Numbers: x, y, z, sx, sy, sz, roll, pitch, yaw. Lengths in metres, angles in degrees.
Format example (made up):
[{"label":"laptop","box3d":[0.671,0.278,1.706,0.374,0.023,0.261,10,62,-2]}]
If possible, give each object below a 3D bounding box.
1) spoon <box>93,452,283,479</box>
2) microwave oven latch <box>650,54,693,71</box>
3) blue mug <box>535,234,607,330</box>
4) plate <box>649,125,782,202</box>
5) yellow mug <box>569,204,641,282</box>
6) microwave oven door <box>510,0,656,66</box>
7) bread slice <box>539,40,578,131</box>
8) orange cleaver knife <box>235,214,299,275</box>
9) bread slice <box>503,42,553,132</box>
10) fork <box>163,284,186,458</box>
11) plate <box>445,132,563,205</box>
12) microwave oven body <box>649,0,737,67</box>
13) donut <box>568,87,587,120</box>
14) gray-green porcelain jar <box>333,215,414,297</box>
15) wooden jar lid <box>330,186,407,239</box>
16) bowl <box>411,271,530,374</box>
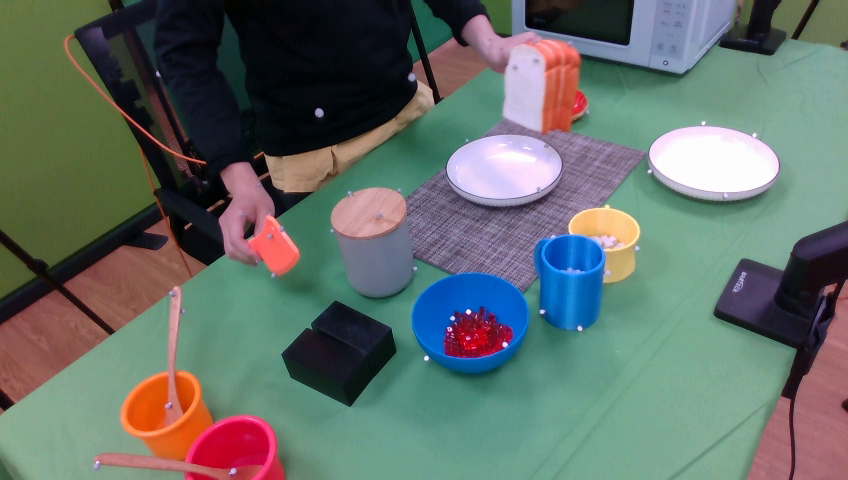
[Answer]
[{"label":"spoon","box3d":[-0.240,0.239,0.632,0.195,0.021,0.041,26,33,-32]},{"label":"microwave oven latch","box3d":[0.531,-0.386,1.301,0.078,0.029,0.030,26,51,33]},{"label":"blue mug","box3d":[0.191,0.048,0.824,0.082,0.106,0.115,-26,44,-20]},{"label":"plate","box3d":[0.493,-0.127,1.036,0.207,0.039,0.206,-4,40,4]},{"label":"yellow mug","box3d":[0.268,-0.005,0.904,0.099,0.064,0.130,7,41,15]},{"label":"microwave oven door","box3d":[0.350,-0.539,1.349,0.353,0.245,0.039,24,50,31]},{"label":"bread slice","box3d":[0.206,-0.255,0.986,0.018,0.134,0.106,-12,37,-30]},{"label":"orange cleaver knife","box3d":[-0.219,0.014,0.834,0.012,0.077,0.210,-35,9,-30]},{"label":"bread slice","box3d":[0.163,-0.247,0.962,0.019,0.132,0.104,-18,34,-27]},{"label":"fork","box3d":[-0.302,0.157,0.733,0.028,0.019,0.207,-3,84,16]},{"label":"plate","box3d":[0.142,-0.123,1.076,0.209,0.038,0.208,-4,41,4]},{"label":"microwave oven body","box3d":[0.475,-0.602,1.411,0.438,0.261,0.327,23,50,32]},{"label":"donut","box3d":[0.284,-0.281,1.239,0.099,0.048,0.098,-5,42,5]},{"label":"gray-green porcelain jar","box3d":[-0.071,0.012,0.887,0.106,0.127,0.105,-4,41,4]},{"label":"wooden jar lid","box3d":[-0.077,-0.035,0.846,0.108,0.021,0.108,-5,41,5]},{"label":"bowl","box3d":[0.062,0.120,0.780,0.151,0.077,0.150,-4,40,4]}]
